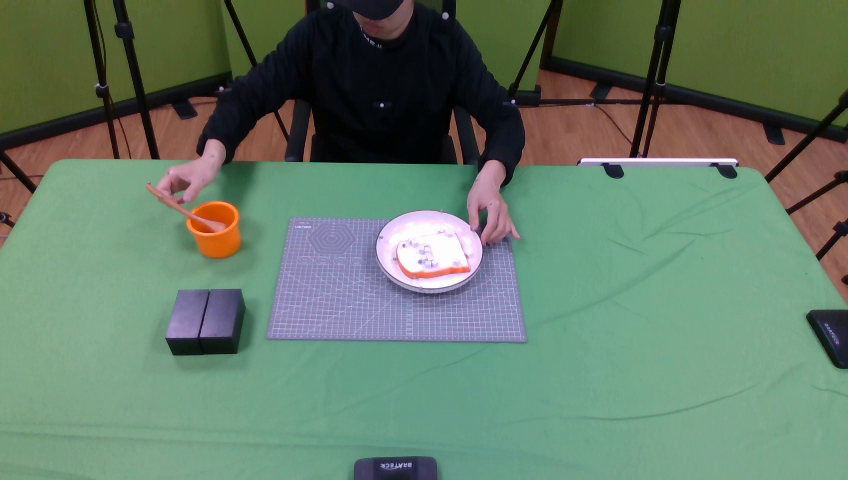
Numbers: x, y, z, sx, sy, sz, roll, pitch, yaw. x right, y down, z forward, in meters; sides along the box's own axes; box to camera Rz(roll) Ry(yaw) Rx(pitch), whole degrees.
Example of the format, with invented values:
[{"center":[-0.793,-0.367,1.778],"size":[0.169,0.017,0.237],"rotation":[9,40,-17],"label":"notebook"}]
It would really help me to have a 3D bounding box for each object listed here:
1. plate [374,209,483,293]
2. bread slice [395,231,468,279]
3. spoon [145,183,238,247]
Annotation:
[{"center":[0.009,0.024,1.160],"size":[0.209,0.038,0.208],"rotation":[2,46,-2],"label":"plate"},{"center":[0.011,0.030,1.158],"size":[0.132,0.019,0.104],"rotation":[-8,47,-14],"label":"bread slice"},{"center":[-0.424,-0.045,1.114],"size":[0.195,0.021,0.041],"rotation":[34,40,-28],"label":"spoon"}]
